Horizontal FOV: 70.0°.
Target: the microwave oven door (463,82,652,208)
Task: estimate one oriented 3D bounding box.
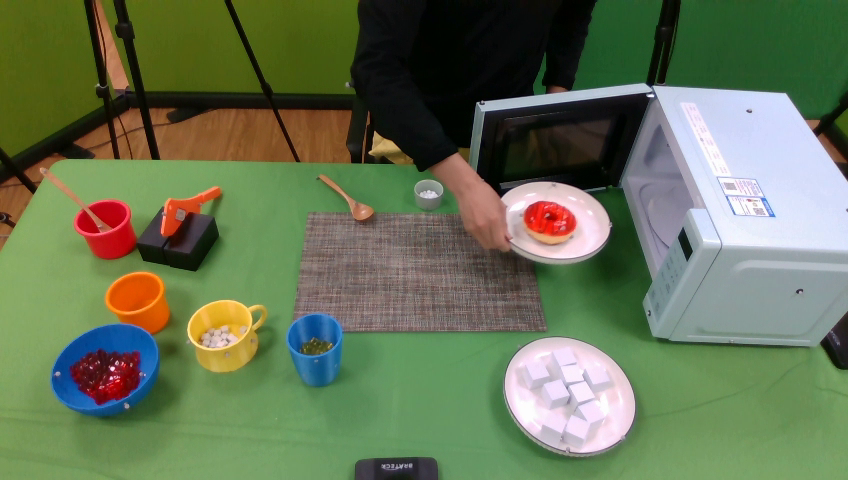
[{"bbox_3d":[0.263,-0.188,1.221,0.356,0.245,0.039,-9,47,-13],"label":"microwave oven door"}]

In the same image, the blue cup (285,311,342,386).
[{"bbox_3d":[-0.170,0.179,0.958,0.093,0.101,0.092,2,44,-1],"label":"blue cup"}]

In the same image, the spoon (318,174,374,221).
[{"bbox_3d":[-0.168,-0.095,1.274,0.041,0.022,0.192,-39,56,-15],"label":"spoon"}]

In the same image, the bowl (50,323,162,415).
[{"bbox_3d":[-0.472,0.209,0.924,0.151,0.077,0.150,2,45,-2],"label":"bowl"}]

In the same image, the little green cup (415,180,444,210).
[{"bbox_3d":[0.010,-0.094,1.278,0.061,0.039,0.061,3,48,-3],"label":"little green cup"}]

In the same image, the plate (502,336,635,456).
[{"bbox_3d":[0.225,0.248,0.963,0.208,0.039,0.206,2,46,-2],"label":"plate"}]

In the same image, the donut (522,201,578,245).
[{"bbox_3d":[0.225,-0.032,1.087,0.099,0.048,0.098,2,43,-1],"label":"donut"}]

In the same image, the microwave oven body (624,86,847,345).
[{"bbox_3d":[0.567,-0.053,1.118,0.326,0.261,0.439,2,45,-1],"label":"microwave oven body"}]

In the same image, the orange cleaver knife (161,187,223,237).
[{"bbox_3d":[-0.448,-0.058,1.181,0.012,0.077,0.211,13,17,6],"label":"orange cleaver knife"}]

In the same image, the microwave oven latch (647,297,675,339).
[{"bbox_3d":[0.413,0.134,1.060,0.030,0.029,0.078,5,45,2],"label":"microwave oven latch"}]

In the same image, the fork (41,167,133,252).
[{"bbox_3d":[-0.624,-0.056,1.121,0.208,0.018,0.028,50,51,-15],"label":"fork"}]

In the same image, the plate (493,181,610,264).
[{"bbox_3d":[0.228,-0.028,1.097,0.209,0.038,0.208,1,44,-1],"label":"plate"}]

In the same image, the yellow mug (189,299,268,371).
[{"bbox_3d":[-0.316,0.148,1.002,0.131,0.064,0.099,-32,56,-31],"label":"yellow mug"}]
